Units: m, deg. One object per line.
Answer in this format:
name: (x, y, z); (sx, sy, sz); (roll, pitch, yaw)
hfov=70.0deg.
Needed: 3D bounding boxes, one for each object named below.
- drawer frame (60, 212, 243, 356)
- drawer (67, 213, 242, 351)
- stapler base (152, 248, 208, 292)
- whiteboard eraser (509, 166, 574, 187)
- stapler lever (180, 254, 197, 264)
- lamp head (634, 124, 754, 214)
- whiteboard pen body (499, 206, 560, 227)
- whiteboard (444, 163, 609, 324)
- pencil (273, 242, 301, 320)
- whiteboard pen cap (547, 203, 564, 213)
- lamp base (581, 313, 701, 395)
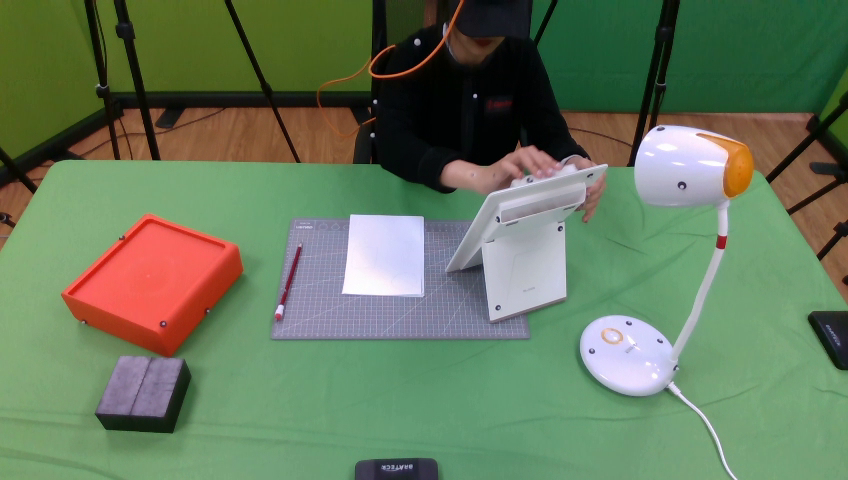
drawer frame: (-0.462, 0.070, 1.053); (0.201, 0.083, 0.213); (18, 48, 12)
drawer: (-0.461, 0.068, 1.056); (0.194, 0.073, 0.211); (19, 48, 13)
stapler base: (-0.443, 0.049, 1.101); (0.130, 0.024, 0.041); (32, 37, 29)
whiteboard eraser: (0.194, -0.086, 1.005); (0.113, 0.056, 0.041); (-16, 69, -11)
stapler lever: (-0.440, 0.026, 1.086); (0.117, 0.040, 0.027); (30, 36, 30)
lamp head: (0.351, -0.089, 0.776); (0.112, 0.113, 0.122); (-30, 30, -28)
whiteboard pen body: (0.221, -0.051, 1.260); (0.141, 0.017, 0.017); (-16, 49, -16)
whiteboard: (0.187, 0.026, 1.029); (0.217, 0.306, 0.143); (-14, 68, -18)
pencil: (-0.249, 0.071, 1.115); (0.012, 0.012, 0.193); (5, 44, 1)
whiteboard pen cap: (0.277, -0.066, 1.275); (0.033, 0.018, 0.018); (-18, 50, -15)
lamp base: (0.361, 0.144, 0.973); (0.178, 0.181, 0.160); (34, 53, 23)
